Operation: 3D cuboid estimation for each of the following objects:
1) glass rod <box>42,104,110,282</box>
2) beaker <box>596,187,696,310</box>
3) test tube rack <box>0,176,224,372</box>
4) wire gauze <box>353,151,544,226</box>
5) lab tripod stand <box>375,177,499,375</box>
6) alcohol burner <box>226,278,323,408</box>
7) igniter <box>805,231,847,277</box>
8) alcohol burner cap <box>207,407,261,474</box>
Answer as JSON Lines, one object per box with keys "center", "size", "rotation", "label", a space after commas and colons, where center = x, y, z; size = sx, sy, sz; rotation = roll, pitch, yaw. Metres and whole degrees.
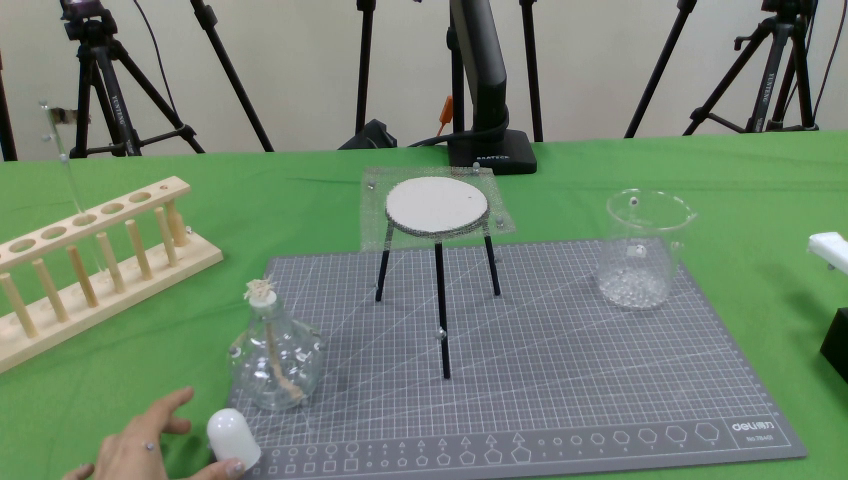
{"center": [-0.329, -0.036, 0.577], "size": [0.008, 0.201, 0.008], "rotation": [2, 37, -1], "label": "glass rod"}
{"center": [0.210, 0.010, 0.585], "size": [0.084, 0.101, 0.073], "rotation": [1, 35, 5], "label": "beaker"}
{"center": [-0.333, 0.026, 0.605], "size": [0.066, 0.086, 0.242], "rotation": [27, 44, 35], "label": "test tube rack"}
{"center": [0.016, -0.043, 0.494], "size": [0.125, 0.011, 0.120], "rotation": [-9, 31, -23], "label": "wire gauze"}
{"center": [0.015, 0.024, 0.544], "size": [0.148, 0.132, 0.147], "rotation": [0, 36, 0], "label": "lab tripod stand"}
{"center": [-0.122, 0.078, 0.489], "size": [0.078, 0.120, 0.077], "rotation": [0, 34, 0], "label": "alcohol burner"}
{"center": [0.412, 0.067, 0.477], "size": [0.057, 0.025, 0.273], "rotation": [-8, 31, -8], "label": "igniter"}
{"center": [-0.144, 0.146, 0.451], "size": [0.034, 0.048, 0.033], "rotation": [-8, 24, 4], "label": "alcohol burner cap"}
